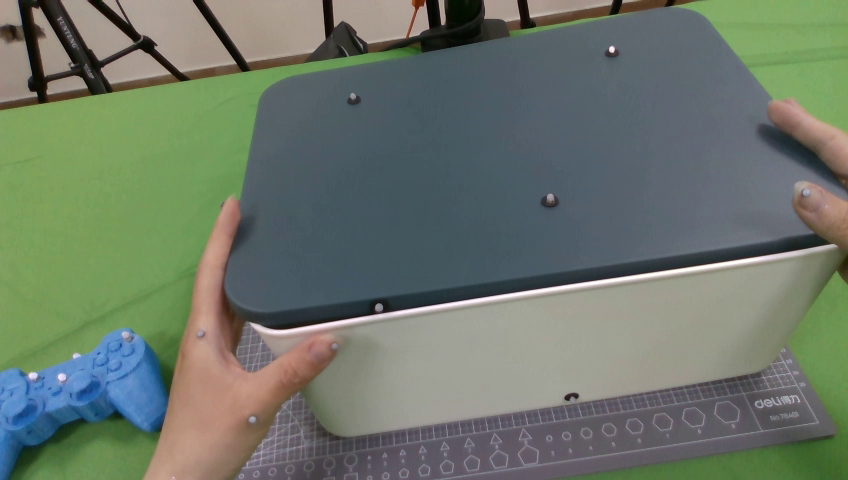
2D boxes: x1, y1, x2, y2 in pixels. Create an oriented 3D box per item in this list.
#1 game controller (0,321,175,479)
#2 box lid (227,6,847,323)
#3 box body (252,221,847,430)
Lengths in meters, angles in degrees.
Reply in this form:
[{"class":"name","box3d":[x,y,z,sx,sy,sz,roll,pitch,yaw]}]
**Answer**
[{"class":"game controller","box3d":[-0.287,0.123,0.487,0.155,0.052,0.096,-19,45,-10]},{"class":"box lid","box3d":[0.054,-0.073,0.423,0.371,0.015,0.260,-9,46,1]},{"class":"box body","box3d":[0.073,-0.014,0.474,0.364,0.162,0.251,-9,47,0]}]
